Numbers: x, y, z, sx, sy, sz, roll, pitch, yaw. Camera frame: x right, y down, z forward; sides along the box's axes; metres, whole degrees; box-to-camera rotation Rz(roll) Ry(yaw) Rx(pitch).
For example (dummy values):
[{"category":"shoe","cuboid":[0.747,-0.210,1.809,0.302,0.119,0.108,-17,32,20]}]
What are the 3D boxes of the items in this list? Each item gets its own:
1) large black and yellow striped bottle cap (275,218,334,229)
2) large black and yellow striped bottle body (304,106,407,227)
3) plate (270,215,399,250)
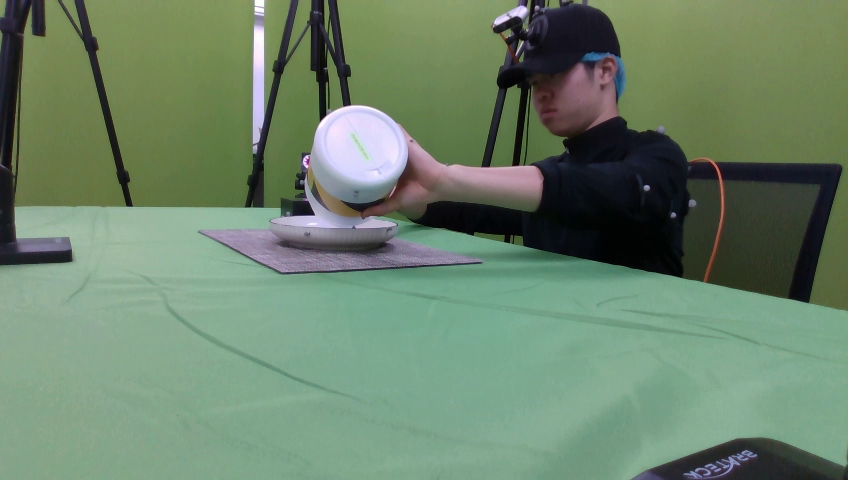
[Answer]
[{"category":"large black and yellow striped bottle cap","cuboid":[-0.236,-0.033,1.197,0.115,0.019,0.115,2,3,0]},{"category":"large black and yellow striped bottle body","cuboid":[-0.108,-0.099,0.901,0.131,0.130,0.183,0,-20,-17]},{"category":"plate","cuboid":[-0.145,-0.013,0.992,0.208,0.039,0.207,2,7,0]}]
